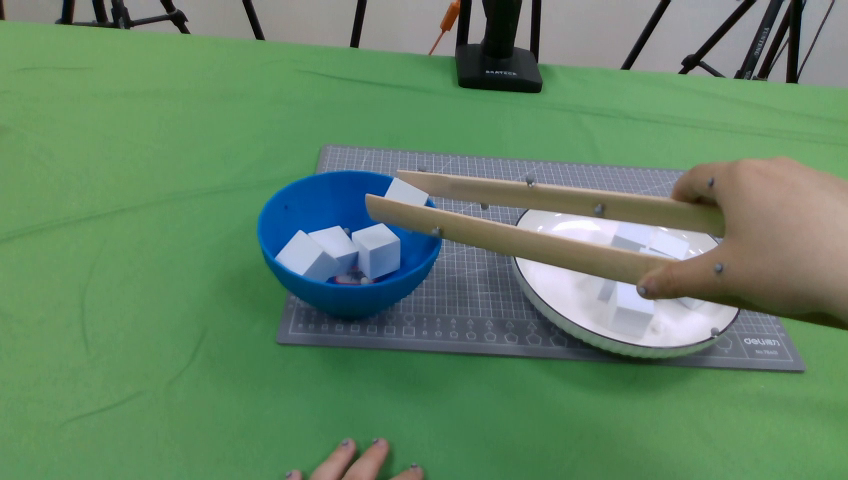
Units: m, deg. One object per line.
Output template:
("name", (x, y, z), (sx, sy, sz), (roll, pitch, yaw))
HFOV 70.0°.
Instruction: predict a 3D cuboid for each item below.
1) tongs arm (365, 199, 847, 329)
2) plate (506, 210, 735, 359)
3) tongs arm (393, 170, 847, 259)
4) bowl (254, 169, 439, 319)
("tongs arm", (0.120, 0.010, 0.376), (0.385, 0.028, 0.028), (11, 42, 30))
("plate", (0.176, 0.031, 0.561), (0.208, 0.039, 0.205), (4, 41, -3))
("tongs arm", (0.134, -0.008, 0.392), (0.382, 0.027, 0.050), (9, 44, 28))
("bowl", (-0.064, 0.014, 0.515), (0.151, 0.077, 0.150), (4, 41, -3))
